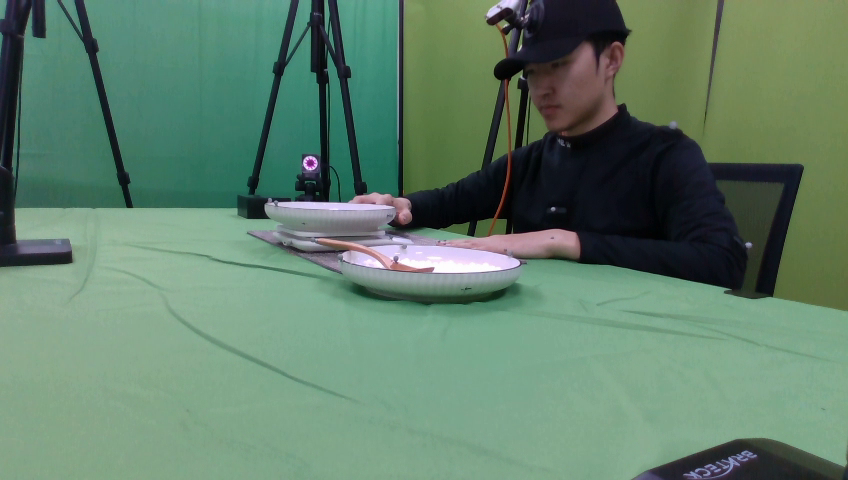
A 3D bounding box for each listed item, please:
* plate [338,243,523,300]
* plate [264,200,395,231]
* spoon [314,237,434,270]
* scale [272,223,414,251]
[{"bbox_3d":[0.007,0.035,0.688,0.209,0.038,0.209,2,7,0],"label":"plate"},{"bbox_3d":[-0.150,-0.040,0.972,0.208,0.039,0.207,2,7,0],"label":"plate"},{"bbox_3d":[-0.064,0.015,0.695,0.192,0.021,0.042,18,17,42],"label":"spoon"},{"bbox_3d":[-0.131,-0.008,0.984,0.202,0.031,0.148,-2,8,-32],"label":"scale"}]
